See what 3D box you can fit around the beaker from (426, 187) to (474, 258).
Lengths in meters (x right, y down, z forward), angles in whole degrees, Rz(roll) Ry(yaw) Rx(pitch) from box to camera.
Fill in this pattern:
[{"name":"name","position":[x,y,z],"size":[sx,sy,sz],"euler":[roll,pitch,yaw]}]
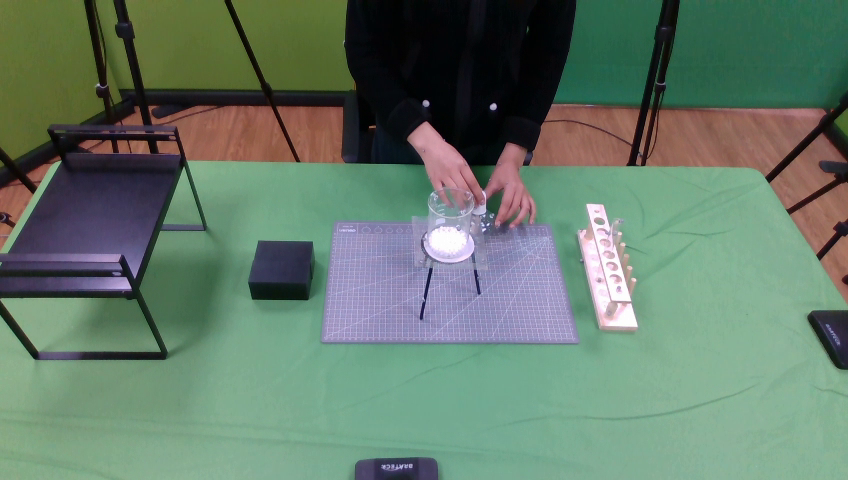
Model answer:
[{"name":"beaker","position":[0.043,-0.027,0.989],"size":[0.084,0.101,0.073],"euler":[-27,53,-26]}]

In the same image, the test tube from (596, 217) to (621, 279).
[{"name":"test tube","position":[0.331,0.018,1.094],"size":[0.017,0.151,0.017],"euler":[0,45,0]}]

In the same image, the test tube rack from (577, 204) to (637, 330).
[{"name":"test tube rack","position":[0.348,0.045,1.139],"size":[0.067,0.085,0.241],"euler":[2,46,-2]}]

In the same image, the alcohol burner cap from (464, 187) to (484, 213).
[{"name":"alcohol burner cap","position":[0.099,-0.079,1.161],"size":[0.034,0.048,0.033],"euler":[12,30,-7]}]

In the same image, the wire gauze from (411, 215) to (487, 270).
[{"name":"wire gauze","position":[0.041,0.003,1.026],"size":[0.125,0.011,0.120],"euler":[0,46,-1]}]

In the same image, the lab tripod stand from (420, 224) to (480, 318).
[{"name":"lab tripod stand","position":[0.034,0.051,1.071],"size":[0.148,0.132,0.147],"euler":[3,48,-3]}]

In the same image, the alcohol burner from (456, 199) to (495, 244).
[{"name":"alcohol burner","position":[0.102,-0.050,1.187],"size":[0.078,0.120,0.077],"euler":[1,46,-1]}]
